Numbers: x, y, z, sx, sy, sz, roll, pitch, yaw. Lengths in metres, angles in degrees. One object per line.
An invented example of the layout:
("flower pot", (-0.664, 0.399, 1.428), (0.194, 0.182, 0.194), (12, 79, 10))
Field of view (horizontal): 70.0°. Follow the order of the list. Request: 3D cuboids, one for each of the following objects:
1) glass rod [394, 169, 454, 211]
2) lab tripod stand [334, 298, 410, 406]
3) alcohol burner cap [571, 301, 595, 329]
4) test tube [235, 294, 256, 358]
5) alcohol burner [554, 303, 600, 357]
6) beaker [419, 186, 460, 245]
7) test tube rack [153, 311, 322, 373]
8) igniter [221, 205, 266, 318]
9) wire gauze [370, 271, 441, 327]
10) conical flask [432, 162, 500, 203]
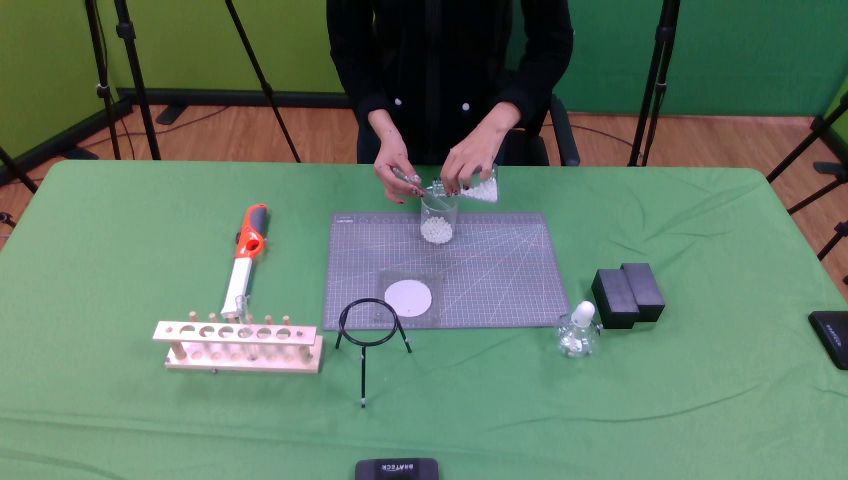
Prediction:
("glass rod", (0.004, -0.090, 1.118), (0.008, 0.201, 0.008), (-13, 66, 30))
("lab tripod stand", (-0.085, 0.164, 0.957), (0.148, 0.132, 0.147), (3, 44, -2))
("alcohol burner cap", (0.262, 0.120, 0.991), (0.034, 0.048, 0.033), (2, 52, -2))
("test tube", (-0.274, 0.136, 0.933), (0.017, 0.151, 0.017), (4, 46, -4))
("alcohol burner", (0.260, 0.143, 1.018), (0.078, 0.119, 0.077), (3, 45, -3))
("beaker", (0.025, -0.047, 1.190), (0.074, 0.101, 0.083), (-29, 54, -29))
("test tube rack", (-0.293, 0.160, 0.978), (0.242, 0.085, 0.066), (3, 46, -2))
("igniter", (-0.338, 0.030, 1.140), (0.057, 0.025, 0.274), (-5, 46, 3))
("wire gauze", (-0.032, 0.103, 1.104), (0.125, 0.011, 0.121), (4, 46, 3))
("conical flask", (0.076, -0.102, 1.113), (0.122, 0.076, 0.075), (-3, 45, 11))
